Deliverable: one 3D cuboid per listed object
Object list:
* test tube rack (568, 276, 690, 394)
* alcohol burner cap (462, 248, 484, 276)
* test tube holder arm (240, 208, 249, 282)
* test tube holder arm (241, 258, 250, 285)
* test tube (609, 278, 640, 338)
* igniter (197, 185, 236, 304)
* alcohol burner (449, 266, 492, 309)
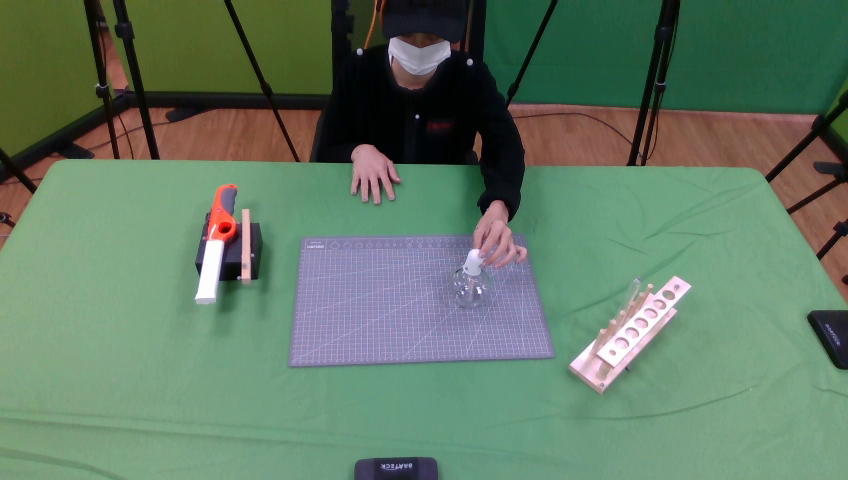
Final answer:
[{"bbox_3d":[0.353,0.149,1.039,0.242,0.085,0.066,-34,56,-31],"label":"test tube rack"},{"bbox_3d":[0.086,0.036,1.042,0.034,0.048,0.033,8,43,-7],"label":"alcohol burner cap"},{"bbox_3d":[-0.324,0.006,1.096,0.015,0.013,0.177,-1,48,-15],"label":"test tube holder arm"},{"bbox_3d":[-0.316,0.043,1.071,0.015,0.010,0.087,-1,48,-15],"label":"test tube holder arm"},{"bbox_3d":[0.331,0.115,1.007,0.017,0.151,0.017,2,45,-2],"label":"test tube"},{"bbox_3d":[-0.376,-0.002,1.101,0.057,0.025,0.274,-1,49,-7],"label":"igniter"},{"bbox_3d":[0.083,0.066,1.073,0.078,0.120,0.077,1,45,-1],"label":"alcohol burner"}]
